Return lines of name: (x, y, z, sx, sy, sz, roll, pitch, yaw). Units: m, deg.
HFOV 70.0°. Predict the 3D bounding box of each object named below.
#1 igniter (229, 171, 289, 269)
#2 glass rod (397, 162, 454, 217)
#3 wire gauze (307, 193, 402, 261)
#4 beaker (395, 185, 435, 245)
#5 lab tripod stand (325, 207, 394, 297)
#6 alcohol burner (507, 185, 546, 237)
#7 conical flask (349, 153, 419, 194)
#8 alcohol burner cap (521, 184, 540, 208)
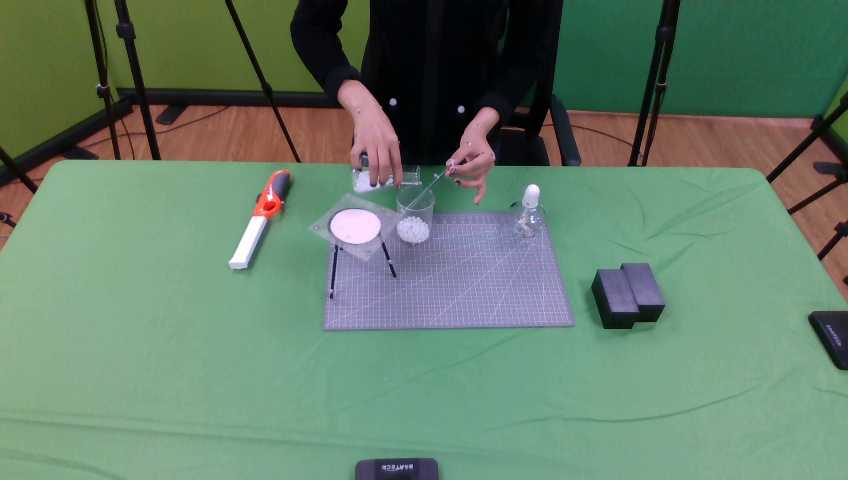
igniter: (-0.328, -0.049, 1.218, 0.057, 0.025, 0.275, 0, 45, 10)
glass rod: (-0.001, -0.092, 1.125, 0.008, 0.200, 0.008, 17, 55, -27)
wire gauze: (-0.118, -0.028, 1.043, 0.125, 0.011, 0.121, 24, 47, 17)
beaker: (-0.022, -0.048, 1.187, 0.074, 0.101, 0.083, -28, 53, -28)
lab tripod stand: (-0.124, 0.017, 1.092, 0.148, 0.132, 0.147, 3, 44, -3)
alcohol burner: (0.208, -0.063, 1.210, 0.078, 0.119, 0.077, 3, 44, -3)
conical flask: (-0.071, -0.120, 1.106, 0.122, 0.076, 0.075, 1, 46, 6)
alcohol burner cap: (0.210, -0.087, 1.183, 0.034, 0.048, 0.033, 1, 52, -1)
